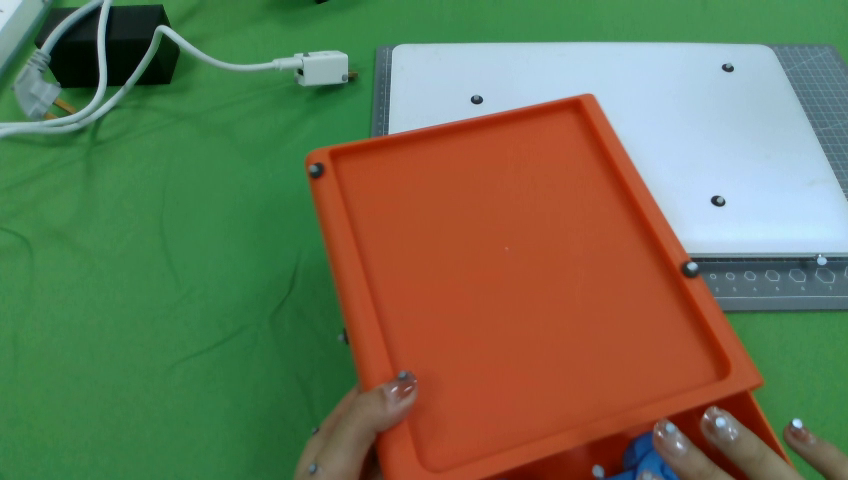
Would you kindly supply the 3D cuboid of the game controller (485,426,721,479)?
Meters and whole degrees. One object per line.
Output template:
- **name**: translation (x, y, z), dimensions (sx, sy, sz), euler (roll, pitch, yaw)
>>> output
- **game controller**: translation (0.090, 0.157, 0.307), dimensions (0.155, 0.052, 0.096), euler (-12, 59, -13)

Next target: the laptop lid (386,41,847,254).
- **laptop lid**: translation (0.144, -0.086, 0.496), dimensions (0.357, 0.013, 0.239), euler (1, 56, 1)

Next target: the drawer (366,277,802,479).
- **drawer**: translation (0.079, 0.111, 0.322), dimensions (0.195, 0.074, 0.209), euler (-13, 60, -11)

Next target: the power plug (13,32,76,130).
- **power plug**: translation (-0.313, -0.132, 0.514), dimensions (0.072, 0.053, 0.035), euler (-53, 35, 0)

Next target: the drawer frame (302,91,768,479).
- **drawer frame**: translation (0.049, 0.029, 0.366), dimensions (0.202, 0.083, 0.211), euler (-15, 61, -11)

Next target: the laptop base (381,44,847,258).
- **laptop base**: translation (0.145, -0.081, 0.507), dimensions (0.354, 0.023, 0.233), euler (0, 57, -1)

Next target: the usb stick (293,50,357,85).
- **usb stick**: translation (-0.088, -0.157, 0.550), dimensions (0.059, 0.027, 0.021), euler (-14, 31, -36)

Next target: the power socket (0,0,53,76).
- **power socket**: translation (-0.428, -0.200, 0.582), dimensions (0.072, 0.033, 0.224), euler (3, 54, 1)
